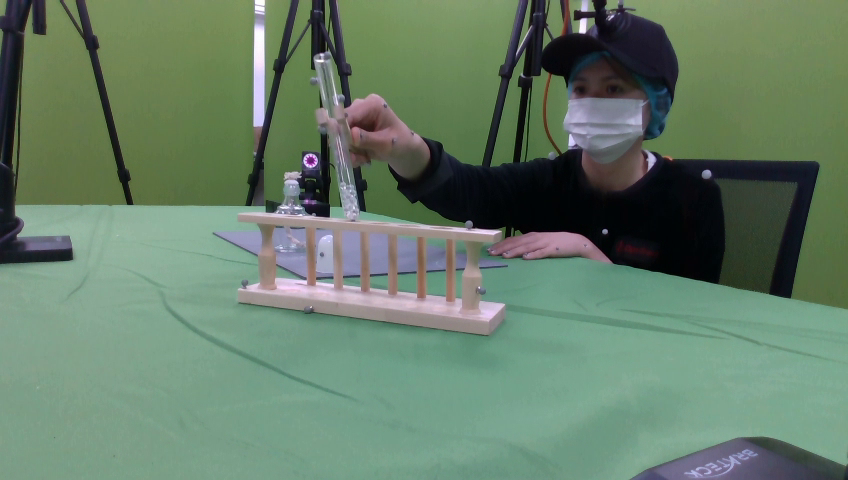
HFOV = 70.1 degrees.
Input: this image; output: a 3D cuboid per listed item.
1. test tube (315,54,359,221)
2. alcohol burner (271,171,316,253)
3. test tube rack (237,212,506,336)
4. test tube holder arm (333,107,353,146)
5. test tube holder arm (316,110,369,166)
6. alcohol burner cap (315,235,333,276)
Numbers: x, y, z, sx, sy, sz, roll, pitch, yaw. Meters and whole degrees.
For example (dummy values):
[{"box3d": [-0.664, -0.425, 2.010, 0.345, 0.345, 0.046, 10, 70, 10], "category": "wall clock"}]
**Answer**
[{"box3d": [-0.077, -0.090, 0.536, 0.017, 0.150, 0.017, -10, -3, 0], "category": "test tube"}, {"box3d": [-0.196, -0.041, 0.884, 0.078, 0.119, 0.078, 3, 5, 0], "category": "alcohol burner"}, {"box3d": [-0.049, 0.024, 0.552, 0.242, 0.085, 0.067, 5, 8, 18], "category": "test tube rack"}, {"box3d": [-0.074, -0.103, 0.561, 0.010, 0.015, 0.088, -9, -5, -4], "category": "test tube holder arm"}, {"box3d": [-0.078, -0.099, 0.605, 0.013, 0.015, 0.178, -9, -5, 5], "category": "test tube holder arm"}, {"box3d": [-0.116, 0.018, 0.728, 0.034, 0.048, 0.034, 3, 6, 0], "category": "alcohol burner cap"}]
